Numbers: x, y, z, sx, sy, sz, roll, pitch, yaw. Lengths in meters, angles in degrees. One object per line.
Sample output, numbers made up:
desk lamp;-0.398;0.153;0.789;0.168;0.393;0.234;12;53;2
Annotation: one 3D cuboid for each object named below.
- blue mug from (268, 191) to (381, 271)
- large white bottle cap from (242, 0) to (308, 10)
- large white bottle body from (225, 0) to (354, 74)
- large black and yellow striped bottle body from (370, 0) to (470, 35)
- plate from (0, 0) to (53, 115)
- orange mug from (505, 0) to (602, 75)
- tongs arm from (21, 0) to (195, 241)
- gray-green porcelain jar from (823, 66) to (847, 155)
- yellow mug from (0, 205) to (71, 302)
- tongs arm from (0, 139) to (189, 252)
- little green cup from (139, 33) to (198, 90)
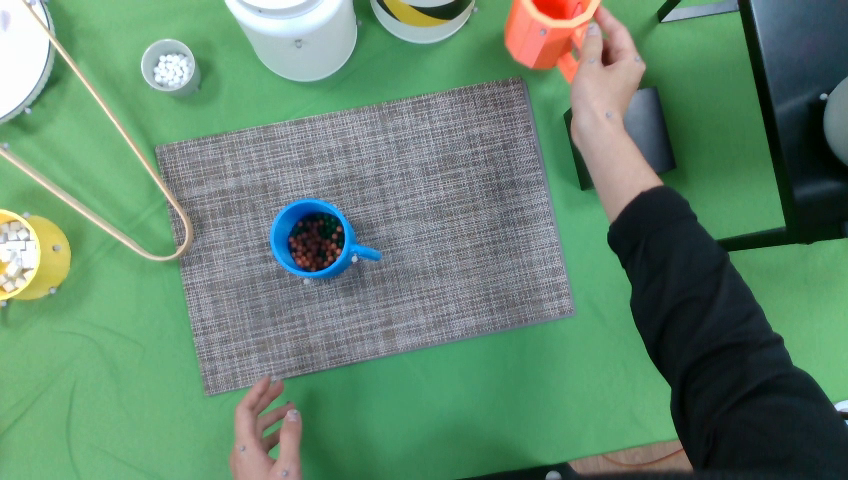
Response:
blue mug;-0.105;-0.003;0.676;0.116;0.106;0.082;14;86;-2
large white bottle cap;-0.141;-0.274;0.565;0.115;0.018;0.114;0;88;-3
large white bottle body;-0.145;-0.269;0.649;0.131;0.184;0.130;0;87;-3
large black and yellow striped bottle body;-0.002;-0.319;0.660;0.131;0.184;0.130;0;87;-3
plate;-0.532;-0.233;0.698;0.208;0.039;0.207;0;88;-3
orange mug;0.150;-0.249;0.675;0.083;0.101;0.125;-31;80;-7
tongs arm;-0.378;-0.163;0.688;0.028;0.027;0.388;-37;97;-12
gray-green porcelain jar;0.431;-0.125;0.527;0.106;0.126;0.105;0;87;-3
yellow mug;-0.471;0.026;0.677;0.100;0.064;0.130;27;87;-2
tongs arm;-0.437;-0.104;0.679;0.386;0.026;0.050;40;83;-8
little green cup;-0.297;-0.206;0.711;0.061;0.038;0.061;0;88;-4
